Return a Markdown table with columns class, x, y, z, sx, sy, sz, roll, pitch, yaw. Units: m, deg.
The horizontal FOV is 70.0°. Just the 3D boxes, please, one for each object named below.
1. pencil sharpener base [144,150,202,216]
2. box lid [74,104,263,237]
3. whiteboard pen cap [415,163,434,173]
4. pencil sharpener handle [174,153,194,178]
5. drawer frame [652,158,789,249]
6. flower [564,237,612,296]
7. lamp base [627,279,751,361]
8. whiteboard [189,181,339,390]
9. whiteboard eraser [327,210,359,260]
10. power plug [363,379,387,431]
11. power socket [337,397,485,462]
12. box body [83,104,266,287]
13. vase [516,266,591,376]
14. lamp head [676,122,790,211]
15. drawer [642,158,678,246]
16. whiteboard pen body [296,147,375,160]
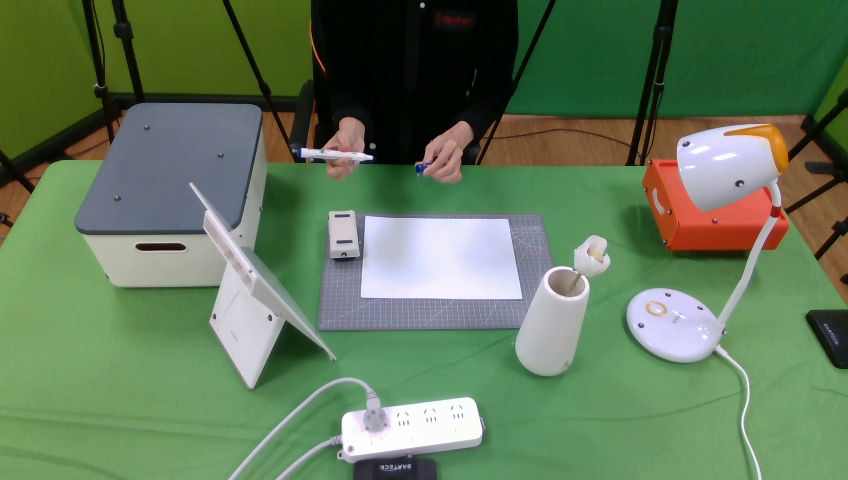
| class | x | y | z | sx | sy | sz | roll | pitch | yaw |
| --- | --- | --- | --- | --- | --- | --- | --- | --- | --- |
| pencil sharpener base | -0.493 | -0.113 | 1.199 | 0.061 | 0.107 | 0.076 | 15 | 47 | 12 |
| box lid | -0.443 | -0.139 | 1.095 | 0.263 | 0.015 | 0.369 | -1 | 45 | -5 |
| whiteboard pen cap | 0.001 | -0.131 | 1.110 | 0.033 | 0.018 | 0.018 | -15 | 49 | -28 |
| pencil sharpener handle | -0.479 | -0.156 | 1.225 | 0.036 | 0.068 | 0.030 | 24 | 48 | 2 |
| drawer frame | 0.571 | -0.075 | 1.214 | 0.214 | 0.083 | 0.200 | 0 | 45 | -1 |
| flower | 0.206 | 0.088 | 0.893 | 0.038 | 0.363 | 0.044 | -17 | 67 | -10 |
| lamp base | 0.460 | 0.100 | 1.027 | 0.178 | 0.181 | 0.160 | 27 | 51 | 17 |
| whiteboard | -0.292 | 0.096 | 0.929 | 0.144 | 0.307 | 0.216 | -37 | 57 | -10 |
| whiteboard eraser | -0.158 | -0.009 | 1.177 | 0.055 | 0.042 | 0.112 | -6 | 47 | -7 |
| power plug | -0.072 | 0.252 | 0.910 | 0.035 | 0.053 | 0.072 | 3 | 45 | -1 |
| power socket | -0.018 | 0.285 | 0.915 | 0.227 | 0.033 | 0.071 | -5 | 46 | -8 |
| box body | -0.447 | -0.088 | 1.150 | 0.254 | 0.161 | 0.361 | -1 | 46 | -5 |
| vase | 0.208 | 0.132 | 0.964 | 0.098 | 0.201 | 0.097 | 3 | 46 | -3 |
| lamp head | 0.423 | -0.104 | 0.819 | 0.122 | 0.113 | 0.112 | -13 | 33 | 40 |
| drawer | 0.566 | -0.076 | 1.211 | 0.212 | 0.073 | 0.193 | 2 | 45 | -2 |
| whiteboard pen body | -0.153 | -0.150 | 1.058 | 0.141 | 0.017 | 0.017 | 1 | 45 | -21 |
